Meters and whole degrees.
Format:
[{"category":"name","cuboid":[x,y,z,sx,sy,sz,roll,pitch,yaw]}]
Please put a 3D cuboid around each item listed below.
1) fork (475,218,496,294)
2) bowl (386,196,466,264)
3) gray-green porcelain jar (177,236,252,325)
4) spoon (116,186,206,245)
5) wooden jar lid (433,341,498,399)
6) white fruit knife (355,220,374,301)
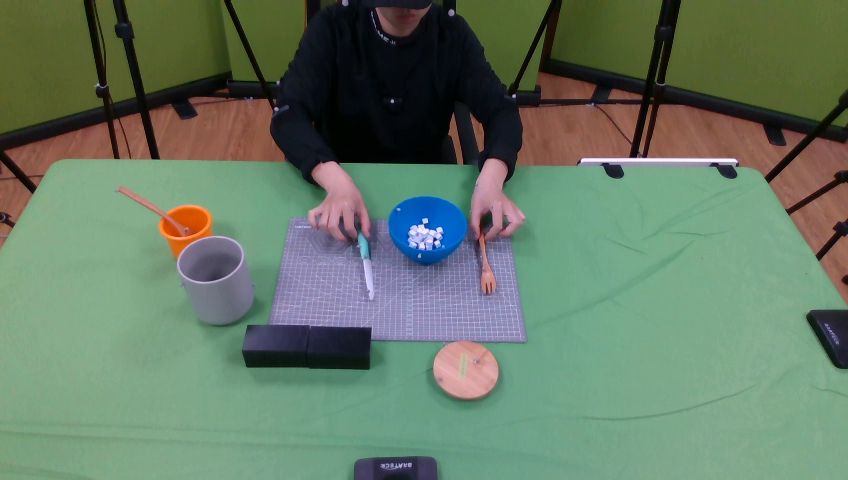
[{"category":"fork","cuboid":[0.116,0.027,1.178,0.028,0.019,0.206,-14,46,11]},{"category":"bowl","cuboid":[0.002,-0.007,1.162,0.151,0.077,0.150,3,46,-2]},{"category":"gray-green porcelain jar","cuboid":[-0.350,0.073,1.027,0.106,0.127,0.105,3,46,-3]},{"category":"spoon","cuboid":[-0.474,-0.041,1.112,0.021,0.195,0.041,-31,31,29]},{"category":"wooden jar lid","cuboid":[0.067,0.216,0.997,0.108,0.021,0.107,1,46,-1]},{"category":"white fruit knife","cuboid":[-0.113,0.034,1.153,0.016,0.027,0.206,-36,43,22]}]
